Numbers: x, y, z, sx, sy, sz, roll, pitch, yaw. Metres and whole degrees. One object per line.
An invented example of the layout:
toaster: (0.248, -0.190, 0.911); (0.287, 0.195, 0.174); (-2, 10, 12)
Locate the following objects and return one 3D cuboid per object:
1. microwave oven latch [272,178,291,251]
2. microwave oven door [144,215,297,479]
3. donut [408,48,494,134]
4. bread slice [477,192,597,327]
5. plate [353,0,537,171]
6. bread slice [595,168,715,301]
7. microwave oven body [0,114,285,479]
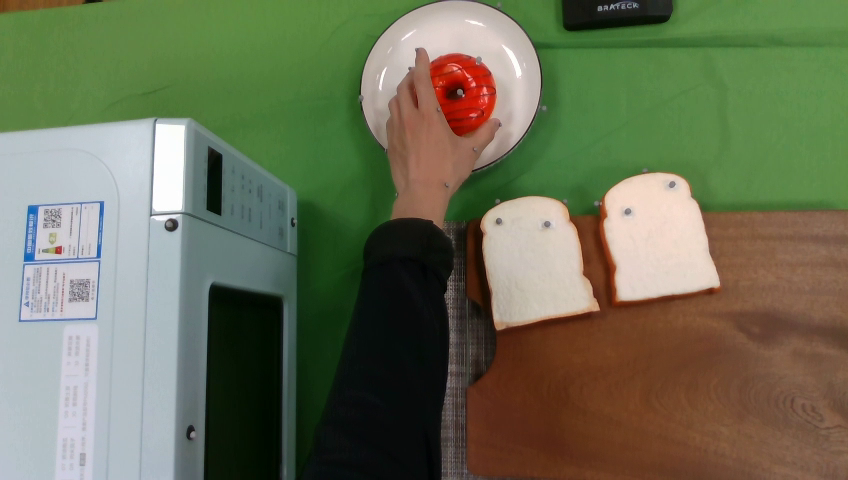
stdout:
microwave oven latch: (-0.165, -0.028, 0.680); (0.030, 0.029, 0.079); (-2, 82, 7)
microwave oven door: (-0.174, 0.172, 0.549); (0.039, 0.245, 0.354); (-4, 81, 8)
donut: (0.030, -0.167, 0.679); (0.099, 0.048, 0.098); (-2, 82, 12)
bread slice: (0.109, 0.018, 0.633); (0.107, 0.018, 0.133); (-15, 79, 5)
plate: (0.024, -0.176, 0.693); (0.207, 0.039, 0.207); (-1, 82, 8)
bread slice: (0.230, -0.009, 0.620); (0.105, 0.019, 0.131); (-11, 80, 5)
microwave oven body: (-0.320, 0.140, 0.579); (0.326, 0.261, 0.440); (-3, 82, 7)
